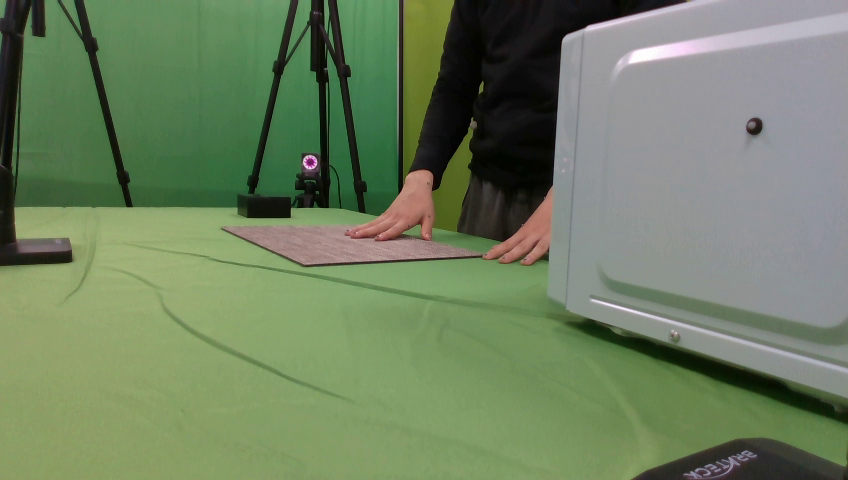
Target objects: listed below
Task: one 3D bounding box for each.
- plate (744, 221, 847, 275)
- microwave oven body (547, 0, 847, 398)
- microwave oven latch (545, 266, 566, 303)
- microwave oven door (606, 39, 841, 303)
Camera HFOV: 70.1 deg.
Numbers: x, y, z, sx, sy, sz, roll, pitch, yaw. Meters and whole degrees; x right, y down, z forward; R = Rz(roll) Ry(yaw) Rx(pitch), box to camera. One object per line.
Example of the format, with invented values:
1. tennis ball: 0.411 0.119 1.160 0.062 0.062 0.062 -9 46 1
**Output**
1. plate: 0.407 0.008 0.552 0.209 0.038 0.209 2 6 0
2. microwave oven body: 0.378 -0.045 0.509 0.444 0.260 0.324 -2 8 -31
3. microwave oven latch: 0.147 0.038 0.555 0.079 0.029 0.030 -2 7 -29
4. microwave oven door: 0.341 -0.070 0.654 0.358 0.243 0.039 -3 9 -31
